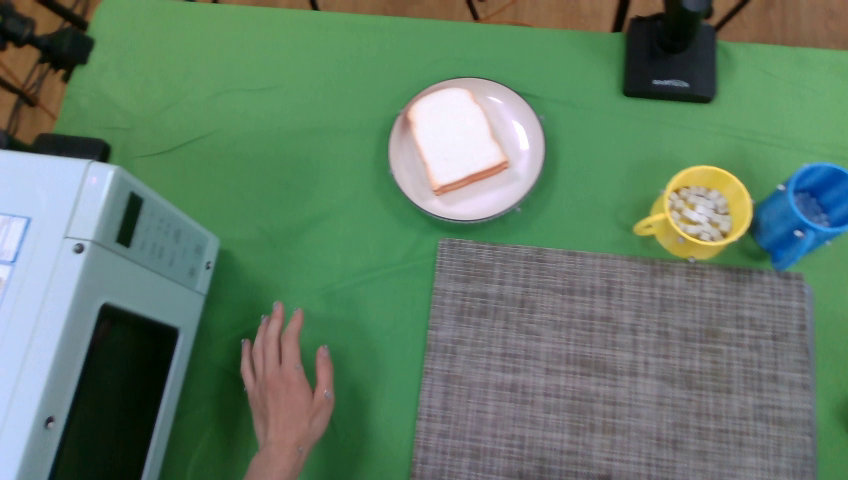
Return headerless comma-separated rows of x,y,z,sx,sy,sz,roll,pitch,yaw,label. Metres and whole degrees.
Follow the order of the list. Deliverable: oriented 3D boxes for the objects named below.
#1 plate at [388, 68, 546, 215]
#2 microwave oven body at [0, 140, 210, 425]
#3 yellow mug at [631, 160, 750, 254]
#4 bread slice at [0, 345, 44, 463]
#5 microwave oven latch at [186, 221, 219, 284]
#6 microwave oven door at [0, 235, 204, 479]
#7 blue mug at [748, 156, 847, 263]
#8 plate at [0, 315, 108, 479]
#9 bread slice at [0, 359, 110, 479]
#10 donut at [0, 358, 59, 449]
0.056,-0.128,0.805,0.207,0.039,0.206,-1,74,5,plate
-0.472,0.136,0.657,0.325,0.262,0.439,8,75,7,microwave oven body
0.319,-0.035,0.740,0.131,0.064,0.099,-14,72,2,yellow mug
-0.472,0.177,0.639,0.107,0.018,0.133,18,69,0,bread slice
-0.288,0.015,0.776,0.030,0.029,0.079,12,76,8,microwave oven latch
-0.337,0.195,0.623,0.039,0.245,0.354,8,74,8,microwave oven door
0.436,-0.025,0.706,0.082,0.106,0.116,27,78,13,blue mug
-0.460,0.190,0.690,0.209,0.038,0.208,0,76,1,plate
-0.458,0.213,0.709,0.104,0.019,0.131,28,54,11,bread slice
-0.456,0.179,0.667,0.099,0.048,0.098,2,66,-4,donut
